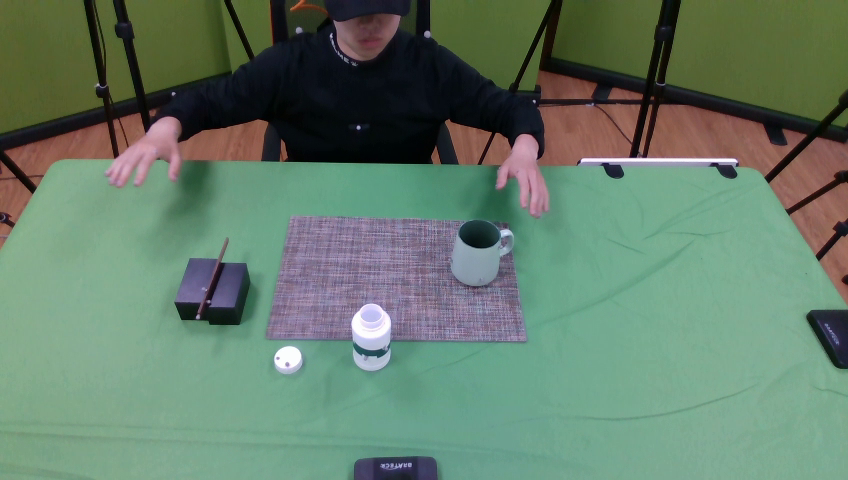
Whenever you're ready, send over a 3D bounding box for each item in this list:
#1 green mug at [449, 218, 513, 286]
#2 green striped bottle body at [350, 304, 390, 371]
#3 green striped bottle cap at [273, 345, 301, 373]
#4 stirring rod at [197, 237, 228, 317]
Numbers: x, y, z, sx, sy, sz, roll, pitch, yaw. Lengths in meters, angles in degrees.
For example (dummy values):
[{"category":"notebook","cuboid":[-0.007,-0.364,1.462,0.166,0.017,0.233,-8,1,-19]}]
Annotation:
[{"category":"green mug","cuboid":[0.110,0.018,1.126,0.125,0.105,0.092,-19,50,-21]},{"category":"green striped bottle body","cuboid":[-0.086,0.154,0.976,0.063,0.120,0.063,2,46,-2]},{"category":"green striped bottle cap","cuboid":[-0.225,0.195,0.997,0.044,0.020,0.044,1,50,-1]},{"category":"stirring rod","cuboid":[-0.363,0.060,1.047,0.006,0.014,0.175,7,46,-3]}]
